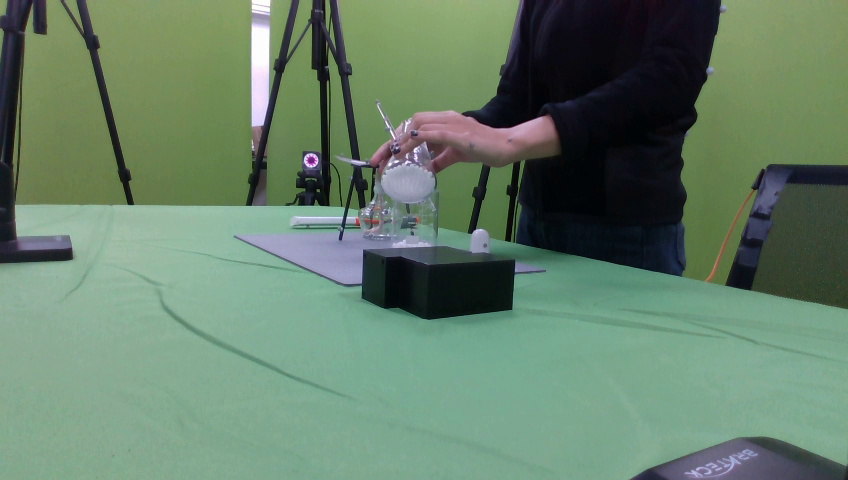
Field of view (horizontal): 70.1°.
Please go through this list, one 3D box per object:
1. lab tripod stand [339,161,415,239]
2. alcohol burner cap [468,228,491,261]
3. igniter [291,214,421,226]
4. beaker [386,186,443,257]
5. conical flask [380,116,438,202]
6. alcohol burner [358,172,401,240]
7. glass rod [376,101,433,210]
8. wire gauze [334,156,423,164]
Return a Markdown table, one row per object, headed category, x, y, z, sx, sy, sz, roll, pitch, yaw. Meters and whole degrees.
| category | x | y | z | sx | sy | sz | roll | pitch | yaw |
| --- | --- | --- | --- | --- | --- | --- | --- | --- | --- |
| lab tripod stand | -0.082 | -0.070 | 1.059 | 0.148 | 0.131 | 0.148 | 4 | 6 | 0 |
| alcohol burner cap | 0.082 | 0.006 | 0.878 | 0.034 | 0.048 | 0.034 | 3 | 7 | 0 |
| igniter | -0.135 | -0.041 | 1.250 | 0.278 | 0.025 | 0.057 | -1 | -3 | -28 |
| beaker | -0.015 | -0.028 | 0.886 | 0.084 | 0.100 | 0.074 | 1 | 7 | -9 |
| conical flask | -0.016 | -0.116 | 0.816 | 0.075 | 0.075 | 0.121 | 2 | 49 | 2 |
| alcohol burner | -0.077 | -0.061 | 1.065 | 0.078 | 0.119 | 0.078 | 4 | 9 | 0 |
| glass rod | -0.030 | -0.128 | 0.899 | 0.008 | 0.199 | 0.008 | -23 | -18 | -8 |
| wire gauze | -0.081 | -0.137 | 1.051 | 0.122 | 0.011 | 0.124 | 0 | 8 | -30 |
